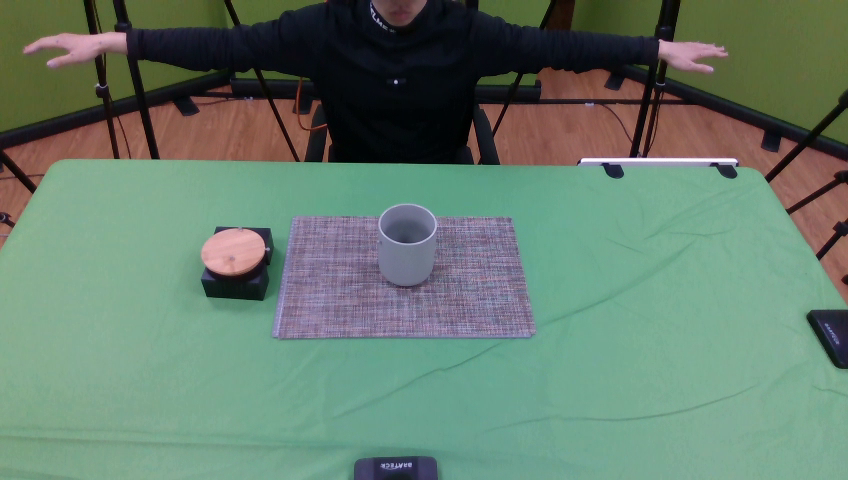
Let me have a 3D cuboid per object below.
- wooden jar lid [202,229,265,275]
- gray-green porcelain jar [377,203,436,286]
[{"bbox_3d":[-0.340,0.023,1.084,0.108,0.021,0.107,3,45,-2],"label":"wooden jar lid"},{"bbox_3d":[-0.033,0.014,1.106,0.106,0.127,0.105,2,46,-2],"label":"gray-green porcelain jar"}]
